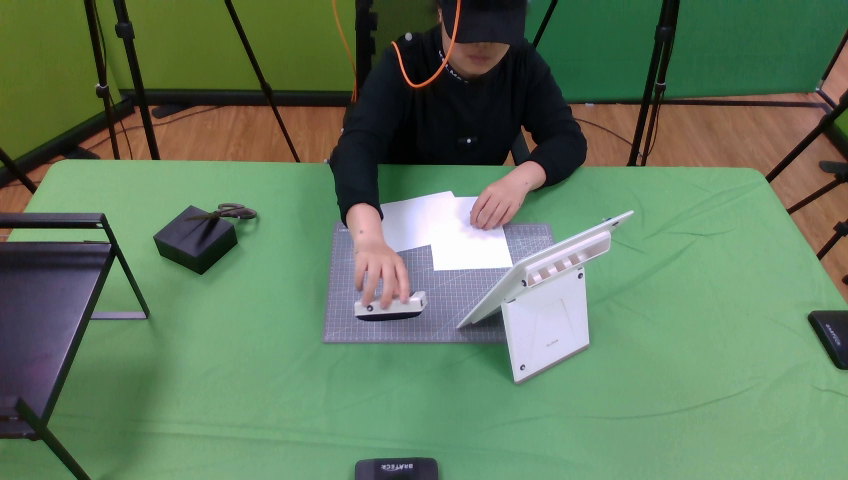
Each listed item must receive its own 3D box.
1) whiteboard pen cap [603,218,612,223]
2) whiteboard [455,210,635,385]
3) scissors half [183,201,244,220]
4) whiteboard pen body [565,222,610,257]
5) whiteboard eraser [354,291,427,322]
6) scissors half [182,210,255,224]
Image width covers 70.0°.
[{"bbox_3d":[0.379,-0.031,1.255,0.033,0.018,0.018,-33,56,-29],"label":"whiteboard pen cap"},{"bbox_3d":[0.211,0.111,0.955,0.217,0.306,0.143,-21,72,-23],"label":"whiteboard"},{"bbox_3d":[-0.405,-0.054,1.163,0.040,0.013,0.175,29,18,7],"label":"scissors half"},{"bbox_3d":[0.335,-0.004,1.228,0.141,0.017,0.017,-32,56,-29],"label":"whiteboard pen body"},{"bbox_3d":[-0.054,0.109,0.985,0.112,0.042,0.055,-6,4,11],"label":"whiteboard eraser"},{"bbox_3d":[-0.389,-0.043,1.158,0.040,0.013,0.175,40,21,23],"label":"scissors half"}]
